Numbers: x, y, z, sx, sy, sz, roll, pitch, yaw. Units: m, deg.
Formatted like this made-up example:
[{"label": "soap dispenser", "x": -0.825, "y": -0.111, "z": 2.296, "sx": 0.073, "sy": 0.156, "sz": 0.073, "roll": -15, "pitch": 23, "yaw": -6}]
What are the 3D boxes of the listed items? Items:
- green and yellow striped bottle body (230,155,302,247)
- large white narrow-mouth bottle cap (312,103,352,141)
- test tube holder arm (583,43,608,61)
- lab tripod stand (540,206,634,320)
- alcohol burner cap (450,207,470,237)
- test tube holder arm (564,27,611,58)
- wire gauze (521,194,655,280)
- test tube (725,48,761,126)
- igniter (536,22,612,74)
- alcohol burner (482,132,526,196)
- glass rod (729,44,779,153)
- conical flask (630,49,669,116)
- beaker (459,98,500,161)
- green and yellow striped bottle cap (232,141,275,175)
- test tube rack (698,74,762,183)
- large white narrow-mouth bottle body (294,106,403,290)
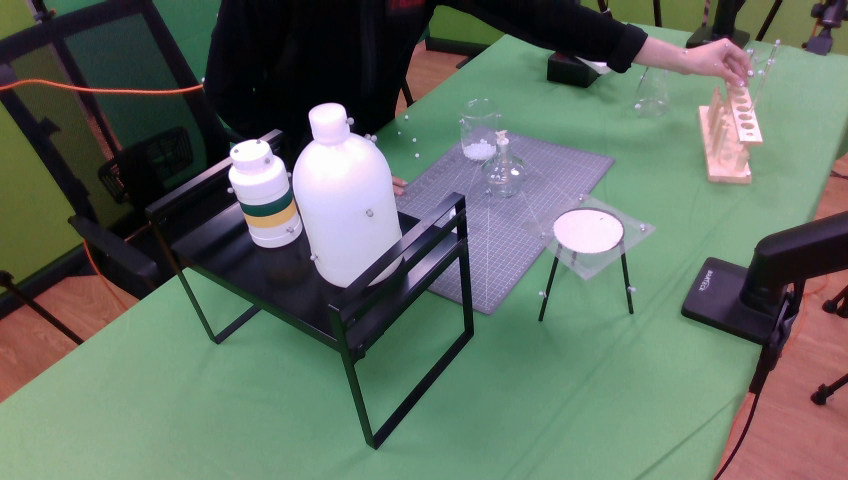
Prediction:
[{"label": "green and yellow striped bottle body", "x": -0.188, "y": -0.055, "z": 0.714, "sx": 0.063, "sy": 0.120, "sz": 0.063, "roll": -4, "pitch": 41, "yaw": 4}, {"label": "large white narrow-mouth bottle cap", "x": -0.088, "y": -0.113, "z": 0.580, "sx": 0.038, "sy": 0.024, "sz": 0.037, "roll": -3, "pitch": 39, "yaw": 3}, {"label": "test tube holder arm", "x": 0.379, "y": -0.420, "z": 1.341, "sx": 0.010, "sy": 0.015, "sz": 0.087, "roll": -40, "pitch": 41, "yaw": 11}, {"label": "lab tripod stand", "x": 0.218, "y": 0.034, "z": 0.821, "sx": 0.148, "sy": 0.132, "sz": 0.147, "roll": -4, "pitch": 42, "yaw": 4}, {"label": "alcohol burner cap", "x": 0.057, "y": -0.032, "z": 0.987, "sx": 0.034, "sy": 0.048, "sz": 0.033, "roll": -4, "pitch": 41, "yaw": 4}, {"label": "test tube holder arm", "x": 0.369, "y": -0.450, "z": 1.373, "sx": 0.013, "sy": 0.015, "sz": 0.177, "roll": -40, "pitch": 41, "yaw": 10}, {"label": "wire gauze", "x": 0.207, "y": -0.012, "z": 0.772, "sx": 0.122, "sy": 0.011, "sz": 0.124, "roll": -28, "pitch": 44, "yaw": -20}, {"label": "test tube", "x": 0.572, "y": -0.272, "z": 1.088, "sx": 0.017, "sy": 0.151, "sz": 0.017, "roll": 0, "pitch": 43, "yaw": 0}, {"label": "igniter", "x": 0.330, "y": -0.439, "z": 1.366, "sx": 0.057, "sy": 0.025, "sz": 0.274, "roll": -11, "pitch": 41, "yaw": -20}, {"label": "alcohol burner", "x": 0.138, "y": -0.136, "z": 1.042, "sx": 0.078, "sy": 0.119, "sz": 0.077, "roll": -4, "pitch": 43, "yaw": 4}, {"label": "glass rod", "x": 0.555, "y": -0.233, "z": 1.020, "sx": 0.008, "sy": 0.200, "sz": 0.008, "roll": 2, "pitch": 39, "yaw": -1}, {"label": "conical flask", "x": 0.457, "y": -0.316, "z": 1.205, "sx": 0.075, "sy": 0.122, "sz": 0.075, "roll": -4, "pitch": 41, "yaw": 4}, {"label": "beaker", "x": 0.104, "y": -0.208, "z": 1.142, "sx": 0.074, "sy": 0.101, "sz": 0.083, "roll": -20, "pitch": 42, "yaw": -15}, {"label": "green and yellow striped bottle cap", "x": -0.192, "y": -0.093, "z": 0.680, "sx": 0.045, "sy": 0.020, "sz": 0.045, "roll": -5, "pitch": 39, "yaw": 5}, {"label": "test tube rack", "x": 0.547, "y": -0.209, "z": 1.094, "sx": 0.066, "sy": 0.085, "sz": 0.242, "roll": 6, "pitch": 42, "yaw": 14}, {"label": "large white narrow-mouth bottle body", "x": -0.081, "y": -0.047, "z": 0.634, "sx": 0.102, "sy": 0.195, "sz": 0.101, "roll": -4, "pitch": 39, "yaw": 3}]
